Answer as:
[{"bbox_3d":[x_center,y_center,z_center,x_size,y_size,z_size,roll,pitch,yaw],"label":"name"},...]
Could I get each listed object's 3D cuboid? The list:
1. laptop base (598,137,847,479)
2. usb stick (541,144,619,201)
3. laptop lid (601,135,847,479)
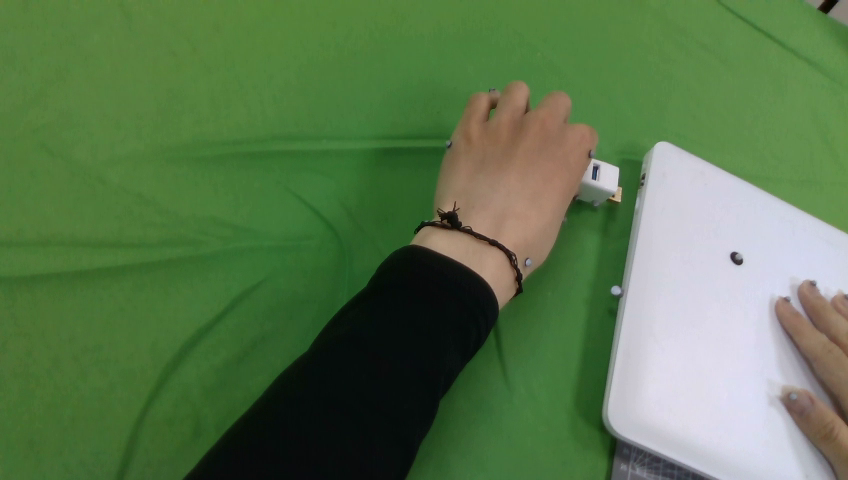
[{"bbox_3d":[0.291,0.087,0.430,0.355,0.023,0.234,25,60,-6],"label":"laptop base"},{"bbox_3d":[0.113,-0.045,0.421,0.059,0.027,0.021,18,63,-15],"label":"usb stick"},{"bbox_3d":[0.294,0.083,0.419,0.357,0.013,0.240,26,59,-5],"label":"laptop lid"}]
